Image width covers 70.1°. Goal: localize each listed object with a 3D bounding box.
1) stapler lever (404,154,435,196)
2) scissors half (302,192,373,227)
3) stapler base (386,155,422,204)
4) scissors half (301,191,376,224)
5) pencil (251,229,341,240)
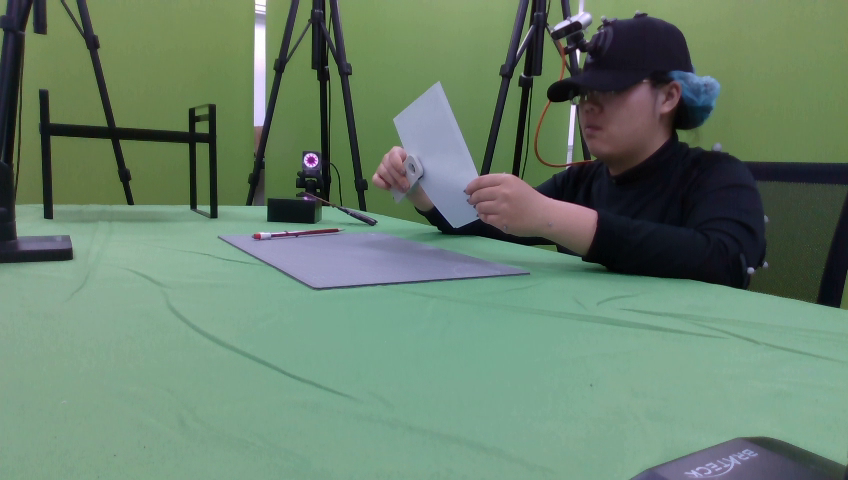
[{"bbox_3d":[-0.014,-0.111,1.038,0.040,0.027,0.118,-22,-10,-22],"label":"stapler lever"},{"bbox_3d":[-0.191,-0.069,1.314,0.175,0.013,0.040,26,16,7],"label":"scissors half"},{"bbox_3d":[-0.029,-0.104,1.029,0.024,0.041,0.130,-21,-10,-29],"label":"stapler base"},{"bbox_3d":[-0.189,-0.073,1.333,0.175,0.013,0.040,22,11,-10],"label":"scissors half"},{"bbox_3d":[-0.215,-0.011,1.049,0.012,0.012,0.195,9,9,39],"label":"pencil"}]
